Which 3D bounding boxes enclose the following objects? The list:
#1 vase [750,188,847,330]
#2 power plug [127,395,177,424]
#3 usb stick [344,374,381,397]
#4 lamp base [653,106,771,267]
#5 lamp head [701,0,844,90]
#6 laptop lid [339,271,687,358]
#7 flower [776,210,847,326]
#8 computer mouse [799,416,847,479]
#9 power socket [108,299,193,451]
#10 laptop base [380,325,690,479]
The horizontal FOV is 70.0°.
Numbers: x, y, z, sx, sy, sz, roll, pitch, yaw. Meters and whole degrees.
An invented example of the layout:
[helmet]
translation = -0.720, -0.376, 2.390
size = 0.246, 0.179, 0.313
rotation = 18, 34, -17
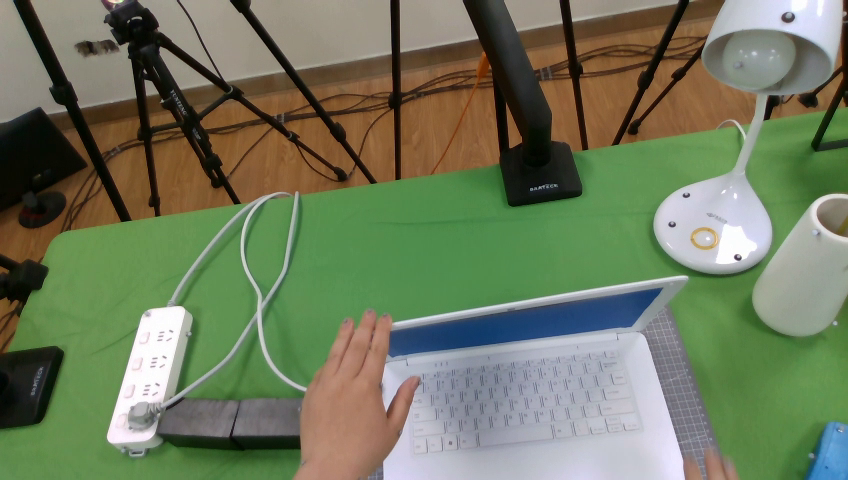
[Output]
[vase]
translation = 0.463, 0.026, 0.725
size = 0.098, 0.202, 0.097
rotation = -6, 52, 8
[power plug]
translation = -0.358, 0.228, 0.803
size = 0.072, 0.053, 0.035
rotation = 4, 55, 10
[usb stick]
translation = -0.074, 0.192, 0.797
size = 0.059, 0.027, 0.021
rotation = -4, 52, 2
[lamp base]
translation = 0.411, -0.082, 0.826
size = 0.159, 0.182, 0.178
rotation = 21, 58, 23
[lamp head]
translation = 0.331, -0.216, 0.562
size = 0.112, 0.113, 0.122
rotation = 18, 77, 22
[laptop lid]
translation = 0.099, 0.094, 0.705
size = 0.356, 0.243, 0.013
rotation = -9, 69, 6
[flower]
translation = 0.467, -0.031, 0.663
size = 0.038, 0.364, 0.043
rotation = -9, 42, -17
[computer mouse]
translation = 0.460, 0.247, 0.665
size = 0.062, 0.041, 0.117
rotation = 28, 59, 30
[power socket]
translation = -0.386, 0.183, 0.866
size = 0.072, 0.033, 0.224
rotation = -5, 53, 5
[laptop base]
translation = 0.122, 0.232, 0.748
size = 0.354, 0.023, 0.233
rotation = -8, 57, 4
